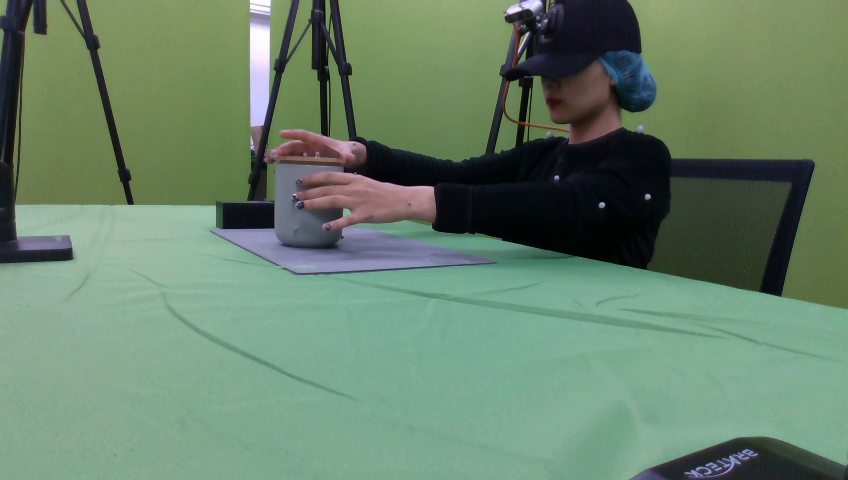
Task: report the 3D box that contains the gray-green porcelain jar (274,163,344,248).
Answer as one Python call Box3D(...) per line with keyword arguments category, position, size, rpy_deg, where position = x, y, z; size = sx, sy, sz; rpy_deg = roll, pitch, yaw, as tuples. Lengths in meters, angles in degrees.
Box3D(category="gray-green porcelain jar", position=(-0.180, -0.055, 0.945), size=(0.106, 0.126, 0.106), rpy_deg=(2, 7, 0))

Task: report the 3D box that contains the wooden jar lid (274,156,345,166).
Box3D(category="wooden jar lid", position=(-0.177, -0.118, 0.936), size=(0.108, 0.020, 0.108), rpy_deg=(2, 8, 0))
